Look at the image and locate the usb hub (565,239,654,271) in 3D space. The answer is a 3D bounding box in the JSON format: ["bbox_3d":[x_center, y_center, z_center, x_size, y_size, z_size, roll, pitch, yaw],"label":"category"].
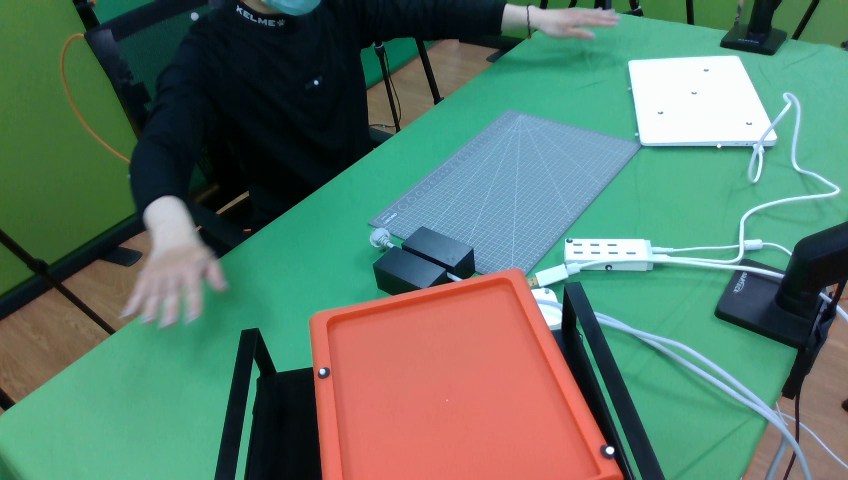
[{"bbox_3d":[0.275,0.022,0.906,0.125,0.025,0.049,1,41,9],"label":"usb hub"}]

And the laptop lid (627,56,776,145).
[{"bbox_3d":[0.543,-0.291,1.221,0.241,0.013,0.356,2,41,14],"label":"laptop lid"}]

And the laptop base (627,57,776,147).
[{"bbox_3d":[0.546,-0.282,1.229,0.235,0.023,0.353,-1,41,13],"label":"laptop base"}]

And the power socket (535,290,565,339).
[{"bbox_3d":[0.081,0.112,0.822,0.227,0.033,0.072,-7,41,0],"label":"power socket"}]

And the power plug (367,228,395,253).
[{"bbox_3d":[-0.066,0.010,0.956,0.035,0.053,0.072,-31,56,2],"label":"power plug"}]

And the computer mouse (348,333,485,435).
[{"bbox_3d":[-0.006,0.122,0.528,0.117,0.041,0.063,20,40,14],"label":"computer mouse"}]

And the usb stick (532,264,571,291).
[{"bbox_3d":[0.181,0.058,0.875,0.059,0.027,0.021,-31,88,-7],"label":"usb stick"}]

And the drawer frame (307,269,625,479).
[{"bbox_3d":[0.019,0.135,0.487,0.202,0.083,0.212,-12,41,-7],"label":"drawer frame"}]

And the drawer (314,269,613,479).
[{"bbox_3d":[0.018,0.134,0.490,0.195,0.073,0.210,-11,41,-6],"label":"drawer"}]
